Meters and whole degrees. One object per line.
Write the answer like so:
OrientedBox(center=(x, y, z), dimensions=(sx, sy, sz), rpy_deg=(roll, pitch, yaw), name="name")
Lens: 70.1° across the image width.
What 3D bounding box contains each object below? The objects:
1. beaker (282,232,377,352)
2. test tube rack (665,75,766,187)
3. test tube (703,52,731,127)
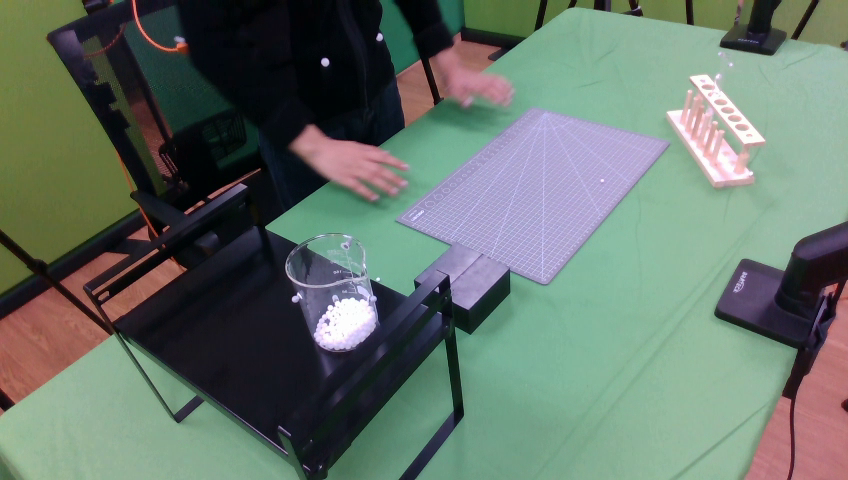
OrientedBox(center=(-0.084, 0.054, 0.587), dimensions=(0.083, 0.101, 0.074), rpy_deg=(17, 47, 25), name="beaker")
OrientedBox(center=(0.512, -0.201, 1.082), dimensions=(0.067, 0.085, 0.241), rpy_deg=(-5, 41, 2), name="test tube rack")
OrientedBox(center=(0.521, -0.264, 1.078), dimensions=(0.017, 0.151, 0.017), rpy_deg=(-4, 47, 5), name="test tube")
